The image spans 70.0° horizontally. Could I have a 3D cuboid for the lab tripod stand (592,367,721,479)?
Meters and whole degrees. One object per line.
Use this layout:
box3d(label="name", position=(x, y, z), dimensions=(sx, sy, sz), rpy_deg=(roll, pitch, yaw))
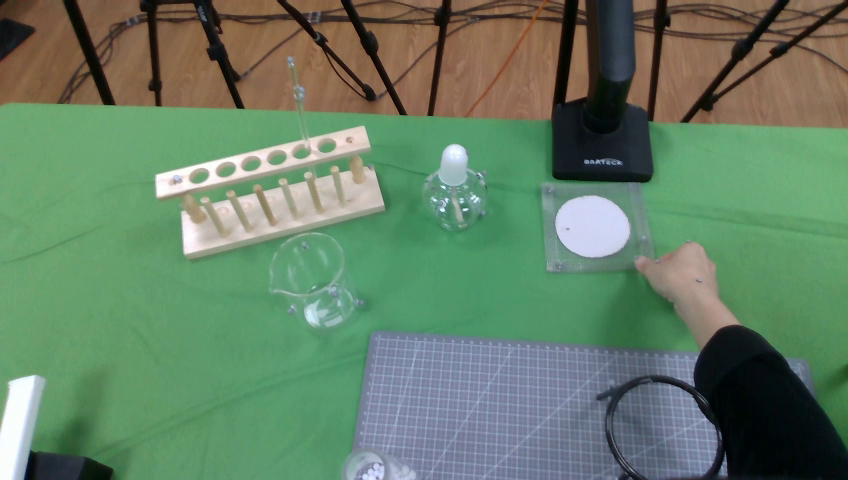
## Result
box3d(label="lab tripod stand", position=(0.189, 0.173, 0.517), dimensions=(0.148, 0.132, 0.147), rpy_deg=(-1, 57, 2))

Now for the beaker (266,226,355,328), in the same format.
box3d(label="beaker", position=(-0.117, 0.046, 0.641), dimensions=(0.084, 0.101, 0.073), rpy_deg=(-34, 62, -15))

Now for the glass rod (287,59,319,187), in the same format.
box3d(label="glass rod", position=(-0.132, -0.121, 0.673), dimensions=(0.008, 0.201, 0.008), rpy_deg=(1, 58, -1))

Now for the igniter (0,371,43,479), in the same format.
box3d(label="igniter", position=(-0.376, 0.249, 0.524), dimensions=(0.057, 0.025, 0.274), rpy_deg=(-14, 58, 9))

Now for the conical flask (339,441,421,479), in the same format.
box3d(label="conical flask", position=(-0.043, 0.205, 0.522), dimensions=(0.075, 0.123, 0.074), rpy_deg=(-2, 58, 4))

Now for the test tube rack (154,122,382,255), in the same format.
box3d(label="test tube rack", position=(-0.179, -0.059, 0.717), dimensions=(0.242, 0.086, 0.066), rpy_deg=(-14, 59, -5))

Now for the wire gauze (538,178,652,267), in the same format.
box3d(label="wire gauze", position=(0.198, -0.024, 0.712), dimensions=(0.121, 0.011, 0.124), rpy_deg=(0, 59, 3))

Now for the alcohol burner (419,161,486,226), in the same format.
box3d(label="alcohol burner", position=(0.032, -0.069, 0.691), dimensions=(0.078, 0.120, 0.077), rpy_deg=(-1, 57, 2))

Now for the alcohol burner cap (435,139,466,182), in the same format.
box3d(label="alcohol burner cap", position=(0.030, -0.090, 0.661), dimensions=(0.034, 0.048, 0.033), rpy_deg=(3, 59, -4))
